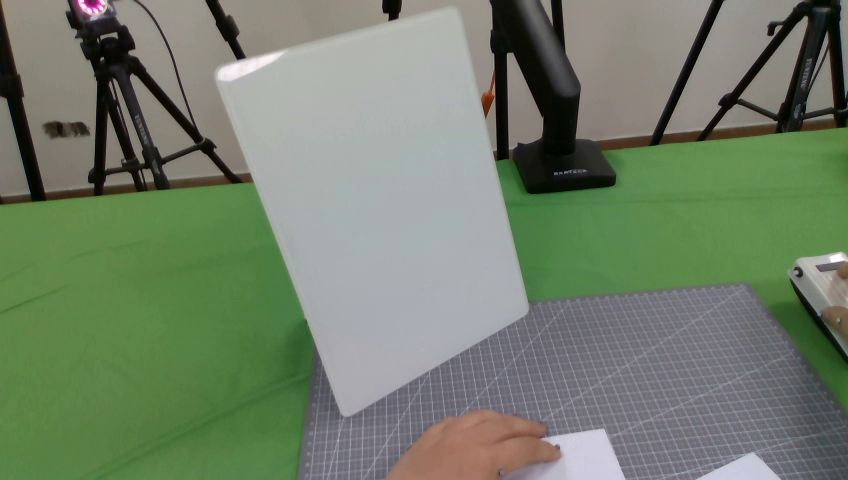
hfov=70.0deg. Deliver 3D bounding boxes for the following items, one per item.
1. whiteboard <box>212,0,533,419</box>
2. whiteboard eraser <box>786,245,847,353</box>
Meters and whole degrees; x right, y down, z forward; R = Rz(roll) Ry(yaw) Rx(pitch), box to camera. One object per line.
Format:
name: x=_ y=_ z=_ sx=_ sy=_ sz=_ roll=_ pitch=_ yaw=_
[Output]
whiteboard: x=-0.052 y=-0.037 z=0.571 sx=0.217 sy=0.307 sz=0.142 roll=-25 pitch=21 yaw=-24
whiteboard eraser: x=0.391 y=0.056 z=0.560 sx=0.055 sy=0.042 sz=0.111 roll=-10 pitch=46 yaw=-2
